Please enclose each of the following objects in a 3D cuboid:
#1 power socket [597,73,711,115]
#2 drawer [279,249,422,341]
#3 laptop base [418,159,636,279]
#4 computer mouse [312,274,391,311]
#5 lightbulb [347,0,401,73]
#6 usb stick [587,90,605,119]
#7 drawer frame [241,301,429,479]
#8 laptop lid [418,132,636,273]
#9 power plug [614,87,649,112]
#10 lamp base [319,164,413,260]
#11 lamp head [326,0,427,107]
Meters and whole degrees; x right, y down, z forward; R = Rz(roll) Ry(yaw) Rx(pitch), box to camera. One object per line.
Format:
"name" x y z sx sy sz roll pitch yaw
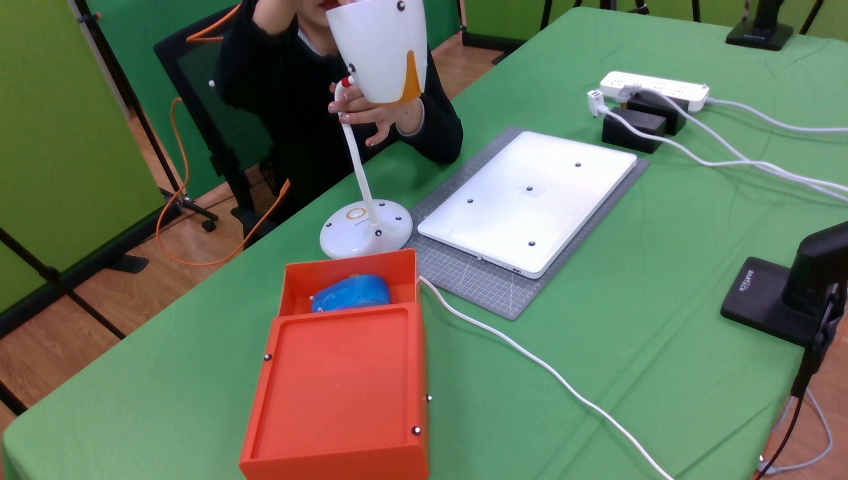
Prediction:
"power socket" 0.469 -0.304 1.249 0.225 0.033 0.072 20 49 30
"drawer" -0.100 0.114 0.828 0.194 0.073 0.210 -7 40 2
"laptop base" 0.185 -0.074 1.042 0.233 0.023 0.355 19 48 35
"computer mouse" -0.107 0.087 0.885 0.117 0.041 0.062 -14 40 0
"lightbulb" -0.052 -0.245 0.687 0.059 0.108 0.059 -8 25 4
"usb stick" 0.334 -0.258 1.170 0.021 0.059 0.027 -29 44 -5
"drawer frame" -0.096 0.183 0.741 0.202 0.083 0.212 -6 40 3
"laptop lid" 0.181 -0.084 1.036 0.239 0.013 0.358 22 49 35
"power plug" 0.406 -0.275 1.192 0.035 0.053 0.072 -16 24 -15
"lamp base" -0.102 -0.068 0.962 0.161 0.181 0.177 -30 46 -20
"lamp head" -0.048 -0.218 0.708 0.112 0.123 0.112 -9 24 4
